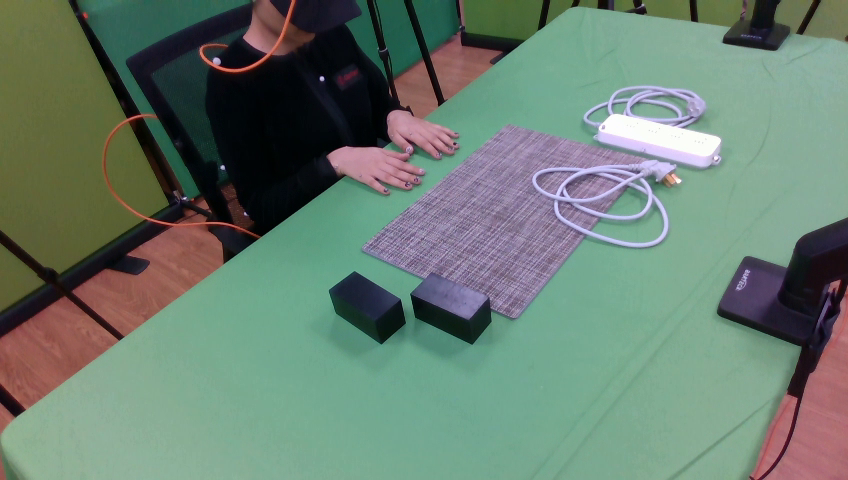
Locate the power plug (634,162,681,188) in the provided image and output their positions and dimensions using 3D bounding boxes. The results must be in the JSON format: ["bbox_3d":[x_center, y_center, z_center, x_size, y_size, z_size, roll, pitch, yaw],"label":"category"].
[{"bbox_3d":[0.396,-0.102,1.026,0.072,0.035,0.052,-35,68,-5],"label":"power plug"}]

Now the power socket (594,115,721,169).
[{"bbox_3d":[0.428,-0.183,1.109,0.225,0.033,0.072,23,49,33],"label":"power socket"}]
